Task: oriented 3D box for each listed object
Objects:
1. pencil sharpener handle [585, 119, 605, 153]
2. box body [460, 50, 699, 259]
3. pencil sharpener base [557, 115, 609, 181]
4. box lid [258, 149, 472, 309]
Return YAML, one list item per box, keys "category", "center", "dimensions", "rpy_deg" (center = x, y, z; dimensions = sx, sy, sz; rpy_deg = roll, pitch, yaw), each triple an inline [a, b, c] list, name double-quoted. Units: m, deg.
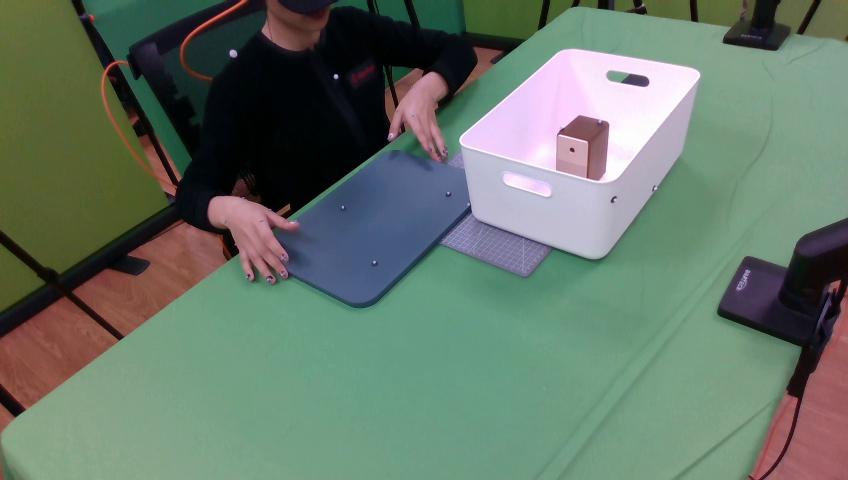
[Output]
- category: "pencil sharpener handle"
  center: [0.301, -0.184, 1.044]
  dimensions: [0.035, 0.068, 0.031]
  rpy_deg: [20, 48, 35]
- category: "box body"
  center: [0.261, -0.153, 1.001]
  dimensions: [0.252, 0.161, 0.365]
  rpy_deg: [21, 48, 31]
- category: "pencil sharpener base"
  center: [0.270, -0.147, 1.024]
  dimensions: [0.061, 0.107, 0.077]
  rpy_deg: [22, 49, 33]
- category: "box lid"
  center: [-0.078, -0.040, 1.052]
  dimensions: [0.261, 0.015, 0.372]
  rpy_deg: [22, 49, 32]
